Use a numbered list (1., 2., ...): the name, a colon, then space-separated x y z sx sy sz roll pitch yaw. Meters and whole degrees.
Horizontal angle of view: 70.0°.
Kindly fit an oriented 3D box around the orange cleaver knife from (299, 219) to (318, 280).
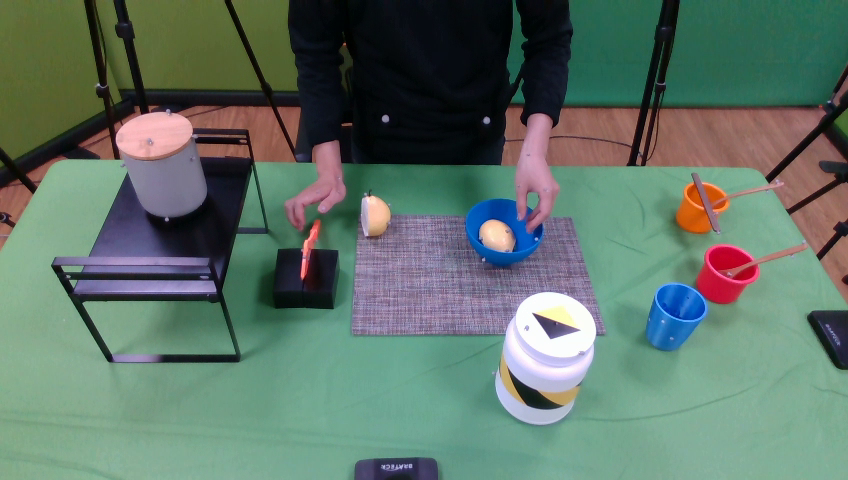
1. orange cleaver knife: -0.214 0.013 1.125 0.012 0.077 0.210 5 17 -5

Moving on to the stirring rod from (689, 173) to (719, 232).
1. stirring rod: 0.566 -0.079 1.225 0.014 0.006 0.175 2 45 2

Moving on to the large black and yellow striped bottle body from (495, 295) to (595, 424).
1. large black and yellow striped bottle body: 0.183 0.182 0.923 0.131 0.185 0.130 2 46 -2

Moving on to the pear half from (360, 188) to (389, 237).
1. pear half: -0.096 -0.060 1.181 0.056 0.110 0.076 -13 52 -17

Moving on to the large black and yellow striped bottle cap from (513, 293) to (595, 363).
1. large black and yellow striped bottle cap: 0.186 0.123 0.863 0.115 0.019 0.114 3 45 -3

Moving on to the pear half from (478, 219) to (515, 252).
1. pear half: 0.143 -0.010 1.164 0.070 0.031 0.087 -17 55 -14

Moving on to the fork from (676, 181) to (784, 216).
1. fork: 0.618 -0.084 1.235 0.207 0.019 0.028 -23 21 38

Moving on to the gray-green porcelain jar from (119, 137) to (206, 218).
1. gray-green porcelain jar: -0.403 -0.106 0.946 0.106 0.127 0.105 3 46 -2

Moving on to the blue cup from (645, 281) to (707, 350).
1. blue cup: 0.425 0.136 1.042 0.093 0.101 0.092 1 45 -1

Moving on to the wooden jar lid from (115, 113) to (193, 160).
1. wooden jar lid: -0.399 -0.151 0.900 0.108 0.021 0.107 3 46 -3

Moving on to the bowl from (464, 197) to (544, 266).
1. bowl: 0.149 -0.004 1.167 0.151 0.077 0.150 3 46 -2

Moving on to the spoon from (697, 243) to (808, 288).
1. spoon: 0.601 0.045 1.115 0.194 0.022 0.041 -29 35 30
